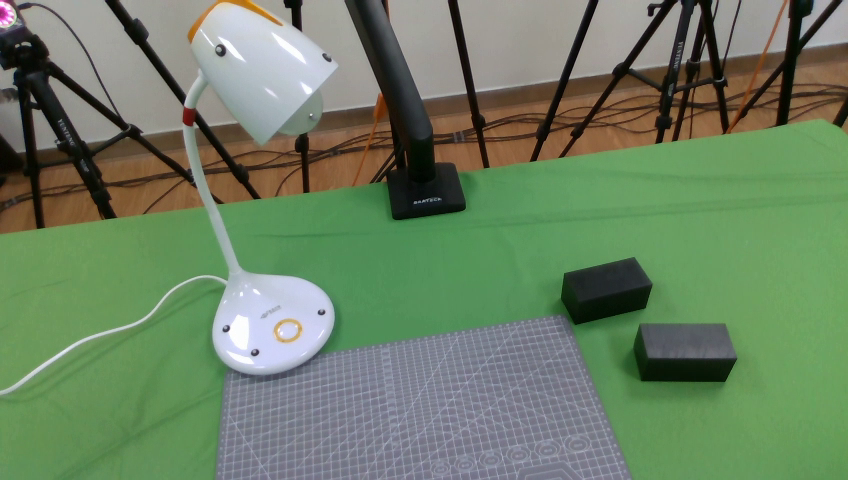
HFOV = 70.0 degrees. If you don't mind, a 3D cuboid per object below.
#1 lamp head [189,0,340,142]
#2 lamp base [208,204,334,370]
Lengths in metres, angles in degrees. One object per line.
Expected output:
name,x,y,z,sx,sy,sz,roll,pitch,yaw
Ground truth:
lamp head,-0.162,-0.170,0.580,0.123,0.112,0.112,39,49,-15
lamp base,-0.216,0.047,0.767,0.177,0.182,0.160,25,51,31
